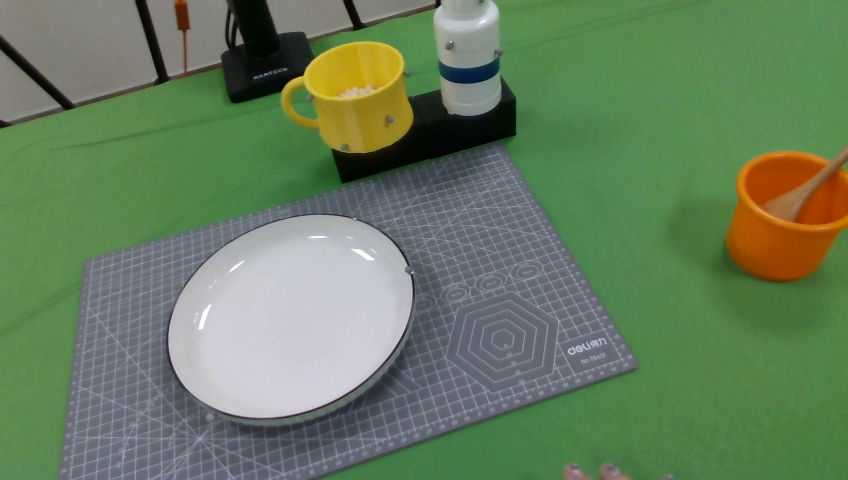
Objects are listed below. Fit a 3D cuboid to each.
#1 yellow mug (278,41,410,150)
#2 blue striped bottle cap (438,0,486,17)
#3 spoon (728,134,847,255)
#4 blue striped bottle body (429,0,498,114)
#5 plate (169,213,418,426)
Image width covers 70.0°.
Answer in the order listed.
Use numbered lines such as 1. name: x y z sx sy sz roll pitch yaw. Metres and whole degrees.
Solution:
1. yellow mug: -0.083 -0.145 0.613 0.131 0.064 0.099 -7 48 4
2. blue striped bottle cap: 0.034 -0.225 0.557 0.044 0.021 0.044 -6 49 7
3. spoon: 0.320 -0.063 0.483 0.194 0.022 0.041 -50 45 19
4. blue striped bottle body: 0.040 -0.191 0.596 0.063 0.122 0.062 -5 49 6
5. plate: -0.106 0.064 0.515 0.207 0.039 0.205 -4 48 5
